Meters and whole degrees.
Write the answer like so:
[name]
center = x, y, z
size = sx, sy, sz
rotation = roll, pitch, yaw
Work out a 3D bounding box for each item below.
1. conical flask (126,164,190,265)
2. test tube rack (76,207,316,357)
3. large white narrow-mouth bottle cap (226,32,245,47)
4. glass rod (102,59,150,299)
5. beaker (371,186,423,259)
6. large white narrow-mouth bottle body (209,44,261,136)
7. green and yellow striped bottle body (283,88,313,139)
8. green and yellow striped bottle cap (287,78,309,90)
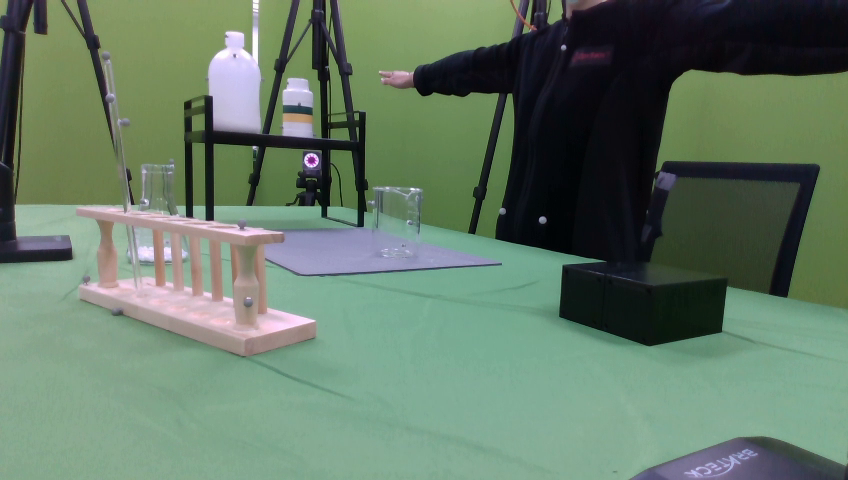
[conical flask]
center = -0.332, -0.033, 0.756
size = 0.075, 0.122, 0.075
rotation = 2, 7, 0
[test tube rack]
center = -0.196, 0.023, 0.500
size = 0.241, 0.085, 0.067
rotation = 8, 9, 36
[large white narrow-mouth bottle cap]
center = -0.368, -0.391, 1.183
size = 0.038, 0.024, 0.037
rotation = 4, 8, 0
[glass rod]
center = -0.243, -0.045, 0.496
size = 0.008, 0.199, 0.008
rotation = -4, 13, 1
[beaker]
center = -0.038, -0.025, 0.868
size = 0.074, 0.100, 0.083
rotation = -1, 8, -22
[large white narrow-mouth bottle body]
center = -0.373, -0.306, 1.197
size = 0.102, 0.194, 0.102
rotation = 4, 8, 0
[green and yellow striped bottle body]
center = -0.266, -0.275, 1.275
size = 0.063, 0.119, 0.063
rotation = 3, 7, 0
[green and yellow striped bottle cap]
center = -0.265, -0.326, 1.268
size = 0.045, 0.020, 0.045
rotation = 4, 6, 0
